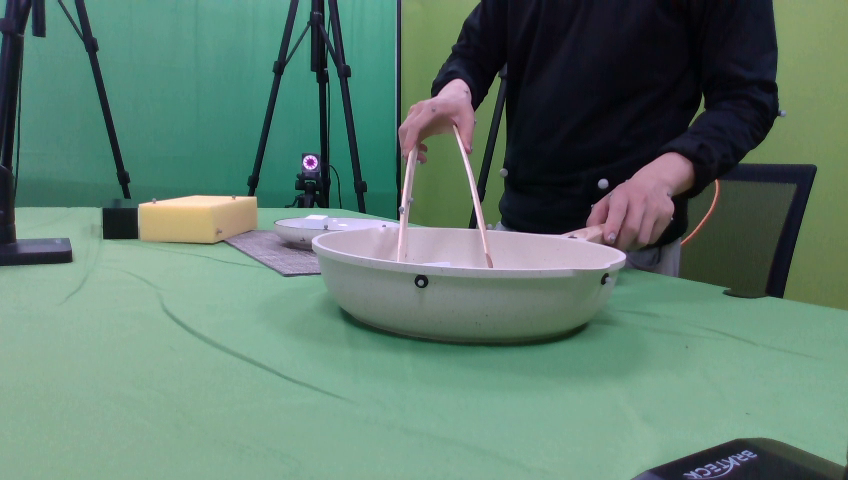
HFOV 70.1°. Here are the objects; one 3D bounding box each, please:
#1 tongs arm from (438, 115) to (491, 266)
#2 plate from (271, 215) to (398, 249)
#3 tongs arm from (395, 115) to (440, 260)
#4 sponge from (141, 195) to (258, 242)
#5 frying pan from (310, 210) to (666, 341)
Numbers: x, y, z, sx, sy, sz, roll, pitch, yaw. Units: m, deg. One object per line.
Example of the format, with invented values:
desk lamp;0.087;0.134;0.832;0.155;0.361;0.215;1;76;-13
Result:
tongs arm;0.047;-0.078;0.744;0.028;0.028;0.386;-18;31;7
plate;-0.141;-0.012;0.978;0.208;0.039;0.207;2;8;0
tongs arm;-0.003;-0.068;0.750;0.051;0.026;0.384;-12;32;8
sponge;-0.380;-0.040;1.047;0.118;0.061;0.207;1;8;3
frying pan;0.120;0.011;0.643;0.490;0.102;0.305;-13;16;-36
